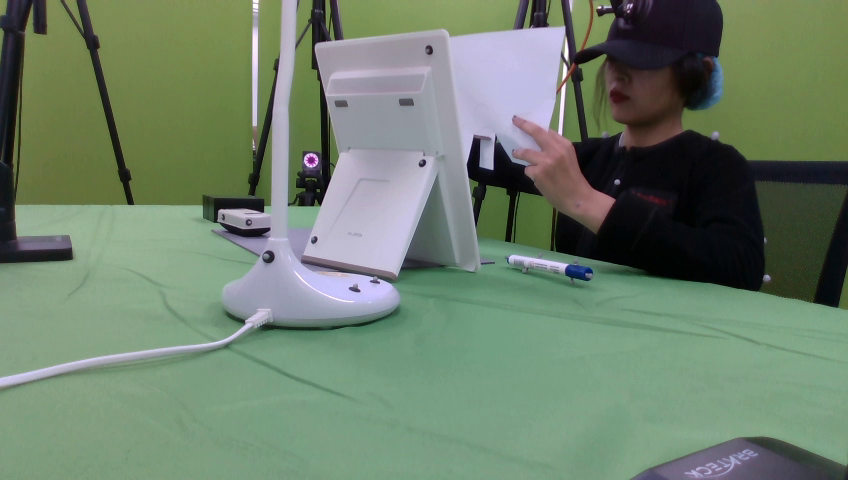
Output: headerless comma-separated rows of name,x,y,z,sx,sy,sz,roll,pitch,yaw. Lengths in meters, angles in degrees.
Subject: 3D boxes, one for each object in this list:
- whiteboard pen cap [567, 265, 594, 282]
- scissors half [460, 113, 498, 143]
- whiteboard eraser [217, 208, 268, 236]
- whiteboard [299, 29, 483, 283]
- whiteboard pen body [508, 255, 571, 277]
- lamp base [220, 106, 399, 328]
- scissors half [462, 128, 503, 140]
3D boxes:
whiteboard pen cap,0.185,0.040,0.722,0.018,0.018,0.033,-2,6,-33
scissors half,0.091,-0.190,1.034,0.040,0.013,0.174,-25,30,-3
whiteboard eraser,-0.309,-0.031,1.044,0.056,0.042,0.112,-2,9,-40
whiteboard,-0.074,-0.082,0.742,0.216,0.305,0.144,9,29,38
whiteboard pen body,0.155,0.034,0.772,0.017,0.017,0.140,-2,6,-31
lamp base,-0.102,-0.023,0.531,0.160,0.180,0.179,4,10,10
scissors half,0.073,-0.179,1.029,0.040,0.013,0.174,-43,34,-23
